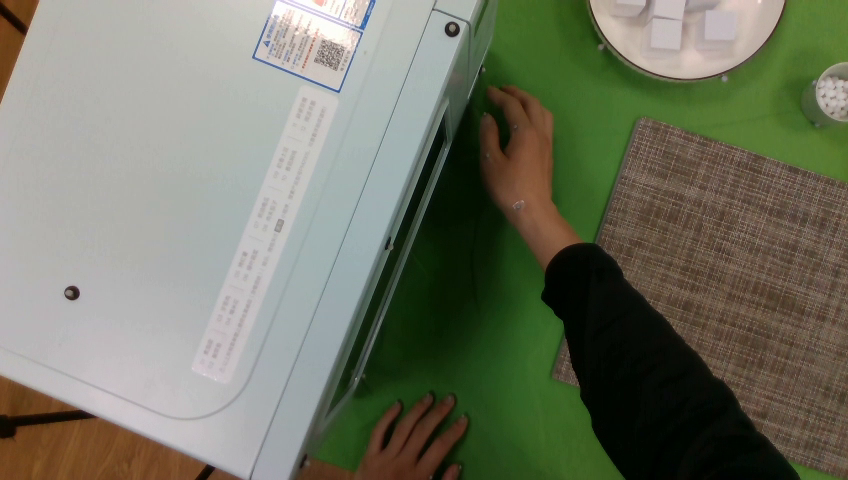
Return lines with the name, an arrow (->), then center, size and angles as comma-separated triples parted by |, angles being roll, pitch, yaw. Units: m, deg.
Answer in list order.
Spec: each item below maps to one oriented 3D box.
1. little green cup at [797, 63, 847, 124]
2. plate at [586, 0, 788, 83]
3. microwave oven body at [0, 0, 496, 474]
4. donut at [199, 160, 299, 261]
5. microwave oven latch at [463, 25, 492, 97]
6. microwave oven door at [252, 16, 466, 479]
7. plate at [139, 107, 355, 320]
little green cup -> 0.429, -0.151, 0.637 | 0.061, 0.038, 0.061 | 0, 89, 3
plate -> 0.274, -0.268, 0.644 | 0.207, 0.039, 0.207 | 0, 90, 3
microwave oven body -> -0.163, -0.084, 0.550 | 0.326, 0.260, 0.441 | 22, 92, 2
donut -> -0.169, -0.028, 0.588 | 0.099, 0.048, 0.099 | 0, 90, 3
microwave oven latch -> 0.046, -0.193, 0.636 | 0.030, 0.029, 0.079 | 24, 92, 2
microwave oven door -> -0.044, 0.009, 0.539 | 0.039, 0.244, 0.355 | 22, 91, 3
plate -> -0.171, -0.025, 0.601 | 0.209, 0.038, 0.209 | 0, 91, 2
